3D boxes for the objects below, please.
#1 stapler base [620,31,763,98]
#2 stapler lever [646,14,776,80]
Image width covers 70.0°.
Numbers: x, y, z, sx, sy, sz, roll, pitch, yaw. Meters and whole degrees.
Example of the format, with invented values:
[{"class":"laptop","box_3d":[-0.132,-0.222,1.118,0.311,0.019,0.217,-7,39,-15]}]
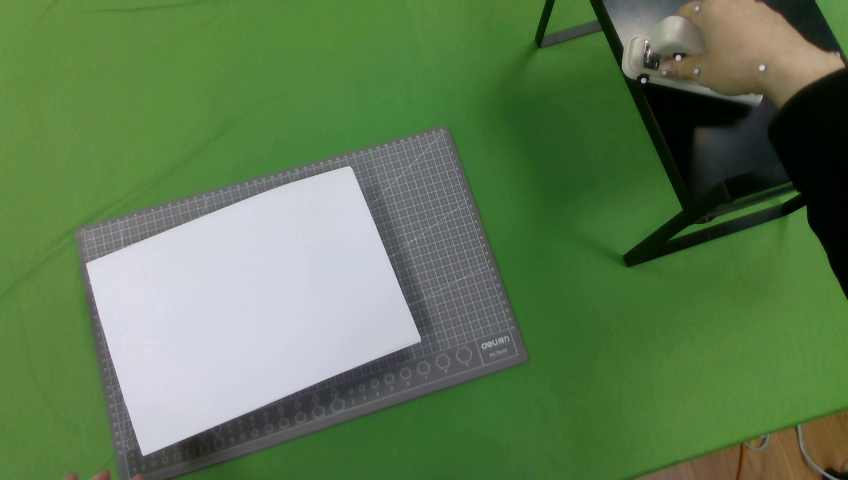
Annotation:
[{"class":"stapler base","box_3d":[0.239,-0.157,0.530,0.131,0.024,0.041,9,85,-6]},{"class":"stapler lever","box_3d":[0.243,-0.161,0.505,0.118,0.040,0.027,9,84,-5]}]
